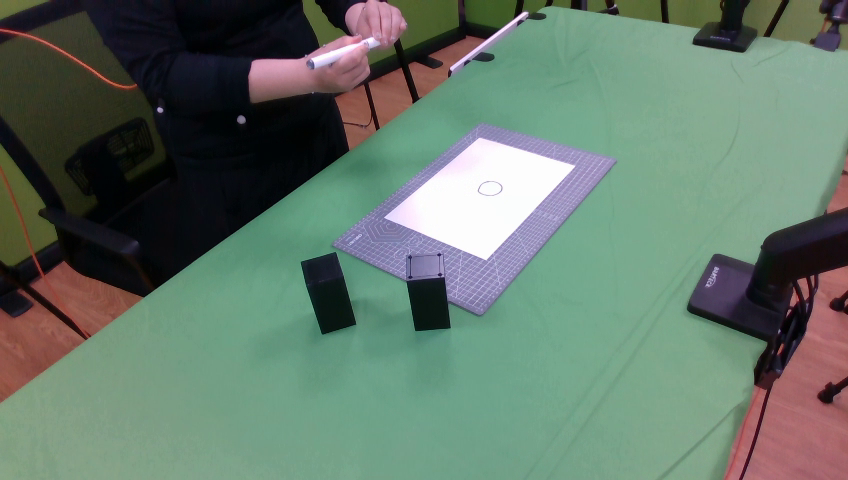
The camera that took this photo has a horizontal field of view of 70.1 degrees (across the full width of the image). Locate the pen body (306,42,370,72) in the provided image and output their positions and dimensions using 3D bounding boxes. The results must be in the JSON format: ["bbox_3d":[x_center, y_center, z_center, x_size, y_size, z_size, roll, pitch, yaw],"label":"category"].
[{"bbox_3d":[-0.123,-0.291,0.944,0.017,0.017,0.145,28,46,35],"label":"pen body"}]

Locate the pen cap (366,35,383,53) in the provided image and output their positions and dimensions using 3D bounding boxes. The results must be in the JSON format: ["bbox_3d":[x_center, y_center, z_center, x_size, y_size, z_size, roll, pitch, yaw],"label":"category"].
[{"bbox_3d":[-0.083,-0.318,0.980,0.017,0.017,0.038,23,52,31],"label":"pen cap"}]
